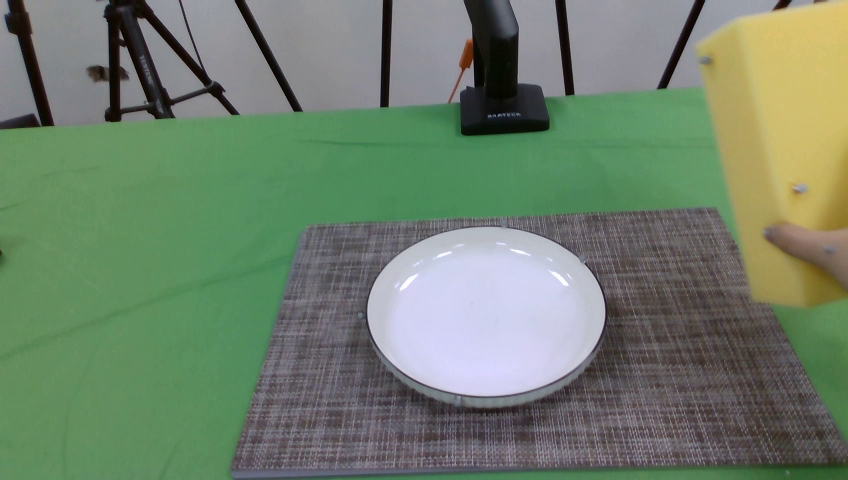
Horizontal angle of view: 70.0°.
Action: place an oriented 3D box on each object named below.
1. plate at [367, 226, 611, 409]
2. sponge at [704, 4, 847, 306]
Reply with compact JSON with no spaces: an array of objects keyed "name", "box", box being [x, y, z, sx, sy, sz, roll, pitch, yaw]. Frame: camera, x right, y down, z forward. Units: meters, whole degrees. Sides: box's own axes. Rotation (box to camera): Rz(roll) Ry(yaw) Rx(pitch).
[{"name":"plate","box":[0.055,0.065,0.533,0.207,0.039,0.205,-3,39,3]},{"name":"sponge","box":[0.301,-0.063,0.454,0.118,0.206,0.061,-13,0,-5]}]
